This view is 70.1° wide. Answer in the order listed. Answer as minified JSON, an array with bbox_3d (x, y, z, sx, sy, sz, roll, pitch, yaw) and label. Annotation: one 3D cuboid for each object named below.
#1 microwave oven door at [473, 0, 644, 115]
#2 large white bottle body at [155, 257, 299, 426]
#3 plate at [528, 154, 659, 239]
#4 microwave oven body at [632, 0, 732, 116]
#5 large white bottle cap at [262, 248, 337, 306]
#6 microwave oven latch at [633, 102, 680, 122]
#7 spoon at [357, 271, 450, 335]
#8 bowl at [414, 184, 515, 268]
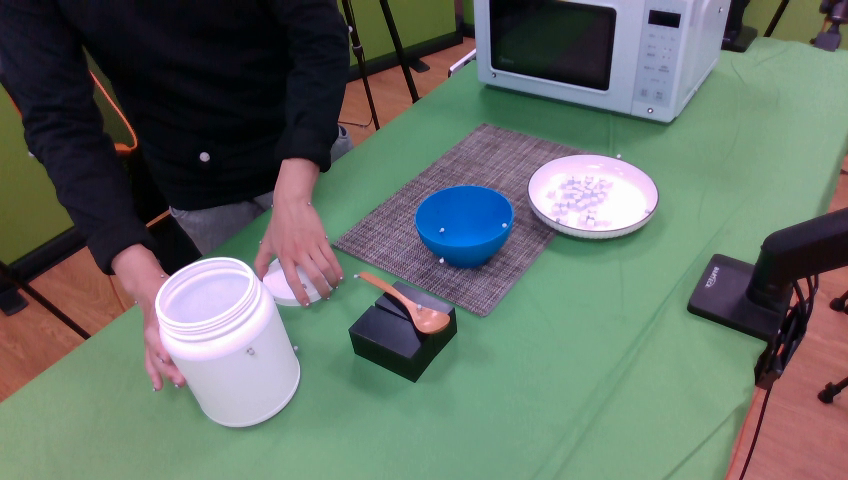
[{"bbox_3d":[0.257,-0.396,1.199,0.353,0.245,0.039,21,48,29],"label":"microwave oven door"},{"bbox_3d":[-0.235,0.122,0.732,0.130,0.185,0.130,-4,41,4],"label":"large white bottle body"},{"bbox_3d":[0.274,-0.069,0.993,0.209,0.038,0.208,-2,42,2],"label":"plate"},{"bbox_3d":[0.377,-0.462,1.267,0.438,0.261,0.327,21,48,30],"label":"microwave oven body"},{"bbox_3d":[-0.193,0.056,0.934,0.115,0.018,0.114,-4,41,4],"label":"large white bottle cap"},{"bbox_3d":[0.444,-0.249,1.157,0.078,0.029,0.030,21,49,30],"label":"microwave oven latch"},{"bbox_3d":[-0.034,0.078,0.812,0.042,0.022,0.192,-36,43,-23],"label":"spoon"},{"bbox_3d":[0.063,-0.010,0.922,0.151,0.077,0.150,-4,40,4],"label":"bowl"}]
